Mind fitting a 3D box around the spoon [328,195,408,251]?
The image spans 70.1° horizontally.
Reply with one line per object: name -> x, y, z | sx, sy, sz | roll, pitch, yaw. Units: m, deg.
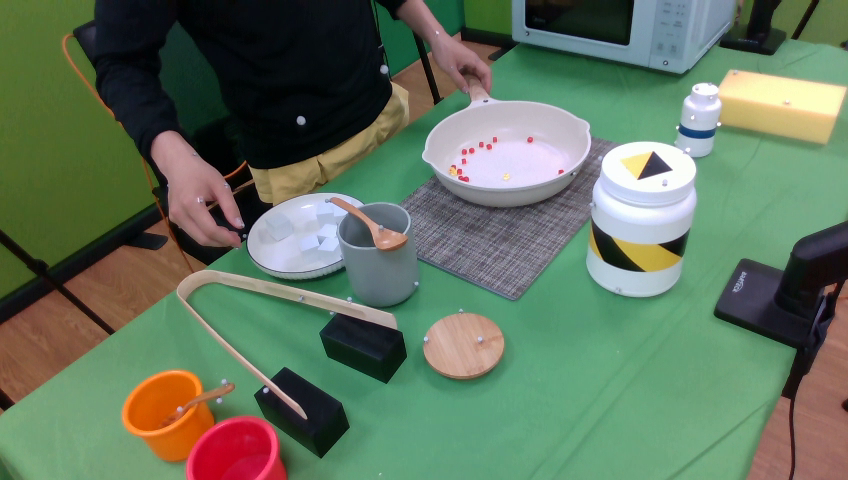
spoon -> -0.083, -0.029, 0.829 | 0.042, 0.022, 0.192 | -31, 42, -21

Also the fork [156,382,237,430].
fork -> -0.262, 0.189, 0.690 | 0.018, 0.206, 0.028 | 49, 43, -7

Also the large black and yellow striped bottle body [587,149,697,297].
large black and yellow striped bottle body -> 0.298, -0.026, 0.835 | 0.131, 0.185, 0.130 | -4, 41, 4

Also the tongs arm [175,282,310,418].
tongs arm -> -0.254, 0.134, 0.799 | 0.028, 0.028, 0.384 | -41, 40, -24

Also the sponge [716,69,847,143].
sponge -> 0.663, -0.256, 1.142 | 0.205, 0.061, 0.118 | 19, 47, 28

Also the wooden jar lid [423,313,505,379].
wooden jar lid -> 0.053, 0.142, 0.800 | 0.108, 0.021, 0.108 | -4, 39, 4

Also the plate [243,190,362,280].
plate -> -0.187, -0.005, 0.992 | 0.207, 0.039, 0.206 | -4, 41, 4

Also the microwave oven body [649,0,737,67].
microwave oven body -> 0.475, -0.602, 1.411 | 0.438, 0.261, 0.327 | 23, 50, 32

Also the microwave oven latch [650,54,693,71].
microwave oven latch -> 0.531, -0.386, 1.301 | 0.078, 0.029, 0.030 | 26, 51, 33

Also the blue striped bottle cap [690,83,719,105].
blue striped bottle cap -> 0.481, -0.251, 1.038 | 0.044, 0.021, 0.044 | -5, 40, 5

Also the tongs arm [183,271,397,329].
tongs arm -> -0.203, 0.086, 0.846 | 0.382, 0.027, 0.051 | 10, 44, 35

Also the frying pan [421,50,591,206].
frying pan -> 0.127, -0.233, 1.155 | 0.307, 0.103, 0.484 | -11, 49, -5

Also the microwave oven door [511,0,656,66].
microwave oven door -> 0.351, -0.539, 1.349 | 0.353, 0.245, 0.039 | 24, 50, 31

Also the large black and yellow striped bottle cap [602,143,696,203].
large black and yellow striped bottle cap -> 0.289, -0.088, 0.779 | 0.115, 0.019, 0.114 | -4, 40, 4

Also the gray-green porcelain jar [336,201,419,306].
gray-green porcelain jar -> -0.064, 0.024, 0.872 | 0.106, 0.127, 0.105 | -4, 41, 4

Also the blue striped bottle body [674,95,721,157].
blue striped bottle body -> 0.486, -0.213, 1.071 | 0.063, 0.121, 0.063 | -4, 41, 4
